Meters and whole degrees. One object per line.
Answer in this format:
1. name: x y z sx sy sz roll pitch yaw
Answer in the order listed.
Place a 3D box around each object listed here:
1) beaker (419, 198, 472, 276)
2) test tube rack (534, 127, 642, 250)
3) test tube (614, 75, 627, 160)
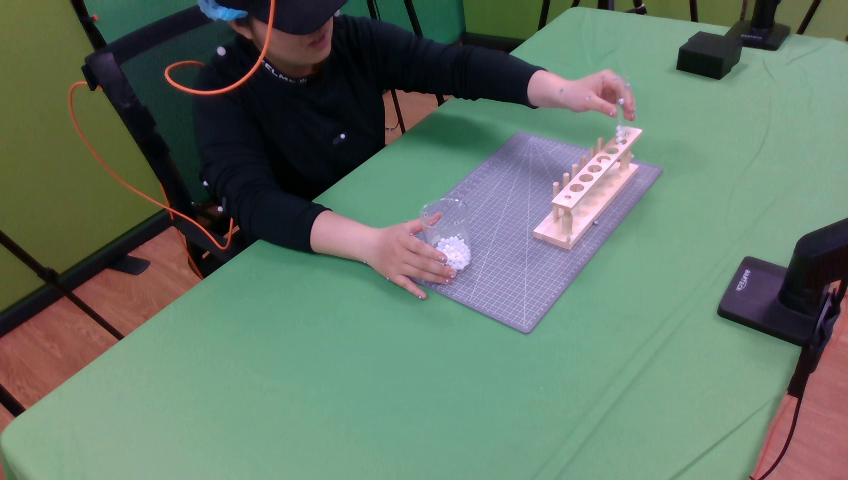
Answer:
1. beaker: 0.037 -0.004 0.916 0.073 0.101 0.084 24 49 33
2. test tube rack: 0.271 -0.094 0.989 0.066 0.085 0.243 23 49 33
3. test tube: 0.315 -0.193 0.971 0.017 0.151 0.017 -7 40 7
